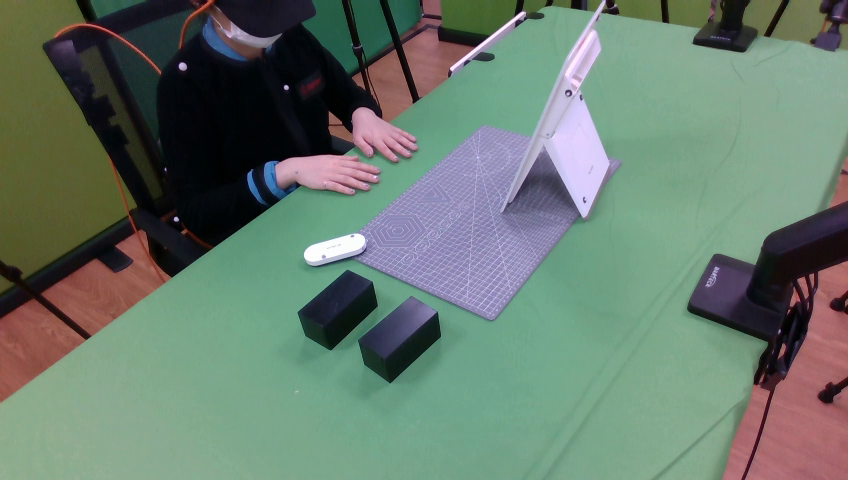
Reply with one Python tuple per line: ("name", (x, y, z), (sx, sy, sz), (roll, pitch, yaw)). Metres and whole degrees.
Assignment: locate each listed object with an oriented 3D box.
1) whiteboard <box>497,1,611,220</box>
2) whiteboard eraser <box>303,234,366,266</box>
("whiteboard", (0.259, -0.177, 0.963), (0.143, 0.306, 0.217), (28, 48, 9))
("whiteboard eraser", (-0.144, 0.015, 0.970), (0.101, 0.019, 0.041), (-14, 43, -6))
